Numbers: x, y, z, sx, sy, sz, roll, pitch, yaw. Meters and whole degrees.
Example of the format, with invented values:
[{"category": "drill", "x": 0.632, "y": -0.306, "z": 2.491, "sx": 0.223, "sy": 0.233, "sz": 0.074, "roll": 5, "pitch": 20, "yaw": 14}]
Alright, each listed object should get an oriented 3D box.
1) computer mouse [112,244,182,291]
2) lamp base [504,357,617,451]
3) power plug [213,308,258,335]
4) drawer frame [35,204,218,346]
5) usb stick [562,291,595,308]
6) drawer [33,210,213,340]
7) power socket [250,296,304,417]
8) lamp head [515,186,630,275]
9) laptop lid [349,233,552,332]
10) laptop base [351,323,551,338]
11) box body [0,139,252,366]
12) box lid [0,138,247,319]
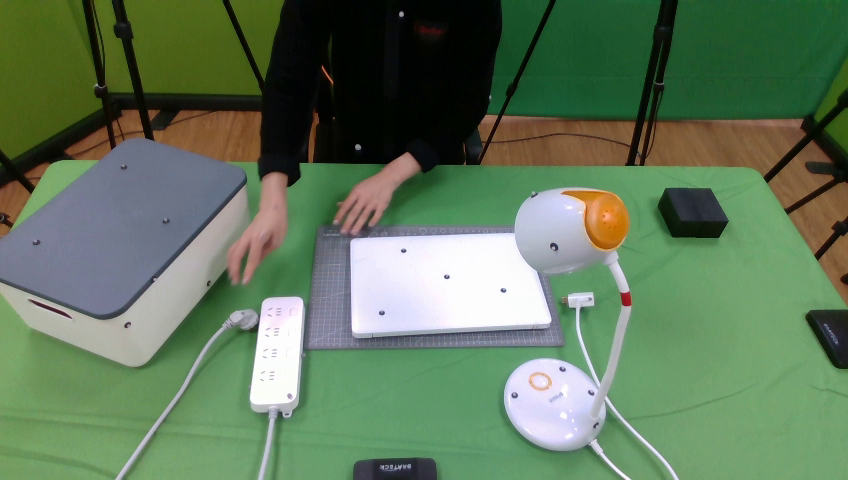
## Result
[{"category": "computer mouse", "x": -0.492, "y": 0.046, "z": 1.078, "sx": 0.117, "sy": 0.041, "sz": 0.062, "roll": 24, "pitch": 41, "yaw": 13}, {"category": "lamp base", "x": 0.220, "y": 0.211, "z": 0.903, "sx": 0.160, "sy": 0.181, "sz": 0.178, "roll": -32, "pitch": 59, "yaw": -30}, {"category": "power plug", "x": -0.317, "y": 0.141, "z": 1.025, "sx": 0.072, "sy": 0.053, "sz": 0.035, "roll": -26, "pitch": 55, "yaw": -7}, {"category": "drawer frame", "x": -0.505, "y": 0.054, "z": 1.052, "sx": 0.201, "sy": 0.083, "sz": 0.212, "roll": 14, "pitch": 52, "yaw": 11}, {"category": "usb stick", "x": 0.280, "y": 0.109, "z": 1.105, "sx": 0.059, "sy": 0.021, "sz": 0.027, "roll": -6, "pitch": 13, "yaw": 23}, {"category": "drawer", "x": -0.509, "y": 0.055, "z": 1.046, "sx": 0.194, "sy": 0.073, "sz": 0.211, "roll": 15, "pitch": 43, "yaw": 11}, {"category": "power socket", "x": -0.239, "y": 0.182, "z": 0.997, "sx": 0.072, "sy": 0.033, "sz": 0.225, "roll": -2, "pitch": 47, "yaw": -5}, {"category": "lamp head", "x": 0.188, "y": -0.013, "z": 0.728, "sx": 0.112, "sy": 0.112, "sz": 0.122, "roll": -25, "pitch": 9, "yaw": -25}, {"category": "laptop lid", "x": 0.040, "y": 0.070, "z": 1.119, "sx": 0.357, "sy": 0.013, "sz": 0.240, "roll": -1, "pitch": 44, "yaw": -5}, {"category": "laptop base", "x": 0.040, "y": 0.080, "z": 1.125, "sx": 0.355, "sy": 0.023, "sz": 0.234, "roll": -2, "pitch": 43, "yaw": -6}, {"category": "box body", "x": -0.496, "y": 0.013, "z": 1.048, "sx": 0.254, "sy": 0.161, "sz": 0.362, "roll": 17, "pitch": 47, "yaw": 12}, {"category": "box lid", "x": -0.494, "y": -0.037, "z": 0.994, "sx": 0.263, "sy": 0.015, "sz": 0.370, "roll": 17, "pitch": 46, "yaw": 12}]
